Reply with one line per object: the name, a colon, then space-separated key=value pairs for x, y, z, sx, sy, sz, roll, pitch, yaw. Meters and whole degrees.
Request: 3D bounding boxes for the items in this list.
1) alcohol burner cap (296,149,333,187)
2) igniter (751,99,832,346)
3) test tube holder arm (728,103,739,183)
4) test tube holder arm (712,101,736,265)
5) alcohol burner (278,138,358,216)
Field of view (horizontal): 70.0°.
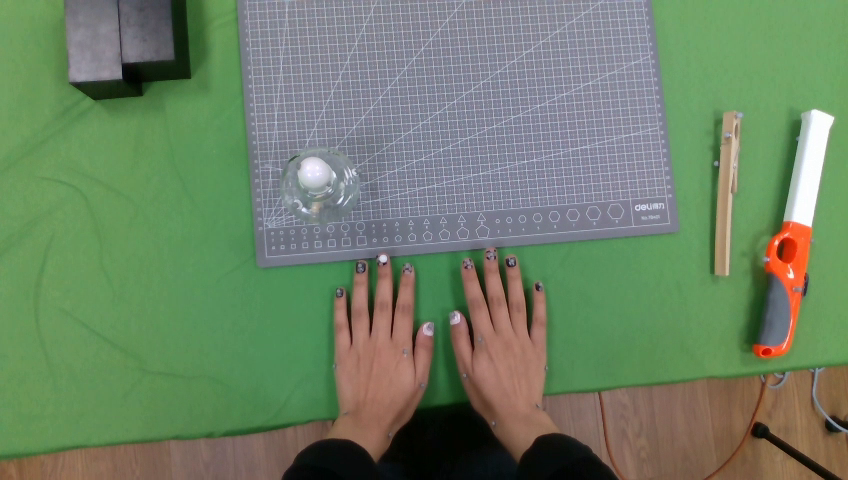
alcohol burner cap: x=-0.099 y=-0.065 z=0.541 sx=0.034 sy=0.048 sz=0.034 roll=0 pitch=91 yaw=-5
igniter: x=0.399 y=-0.018 z=0.657 sx=0.057 sy=0.025 sz=0.276 roll=16 pitch=85 yaw=-13
test tube holder arm: x=0.335 y=-0.106 z=0.664 sx=0.010 sy=0.015 sz=0.087 roll=9 pitch=85 yaw=-34
test tube holder arm: x=0.325 y=-0.062 z=0.658 sx=0.013 sy=0.015 sz=0.178 roll=8 pitch=86 yaw=-34
alcohol burner: x=-0.102 y=-0.064 z=0.577 sx=0.078 sy=0.119 sz=0.077 roll=1 pitch=84 yaw=-5
